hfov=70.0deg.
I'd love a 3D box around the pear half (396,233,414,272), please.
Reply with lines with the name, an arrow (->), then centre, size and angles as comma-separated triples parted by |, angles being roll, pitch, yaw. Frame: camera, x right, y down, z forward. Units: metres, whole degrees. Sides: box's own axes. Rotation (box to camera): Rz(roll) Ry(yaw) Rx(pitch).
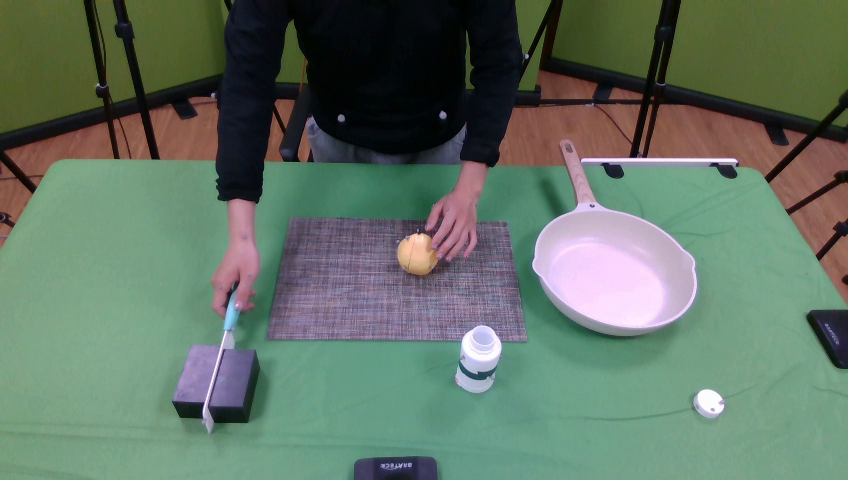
pear half -> -0.036, 0.019, 1.125 | 0.031, 0.088, 0.070 | 5, 50, -1

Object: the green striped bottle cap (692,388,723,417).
green striped bottle cap -> 0.460, 0.263, 0.984 | 0.044, 0.020, 0.044 | 3, 46, -3

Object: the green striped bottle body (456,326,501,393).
green striped bottle body -> 0.086, 0.186, 0.959 | 0.063, 0.120, 0.063 | 2, 47, -2

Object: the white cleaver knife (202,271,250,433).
white cleaver knife -> -0.322, 0.168, 0.980 | 0.021, 0.066, 0.284 | 8, 48, -6

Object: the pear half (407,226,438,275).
pear half -> 0.000, 0.016, 1.117 | 0.056, 0.110, 0.076 | 5, 51, -1

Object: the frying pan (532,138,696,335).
frying pan -> 0.336, -0.024, 1.190 | 0.307, 0.103, 0.484 | -2, 55, -7
